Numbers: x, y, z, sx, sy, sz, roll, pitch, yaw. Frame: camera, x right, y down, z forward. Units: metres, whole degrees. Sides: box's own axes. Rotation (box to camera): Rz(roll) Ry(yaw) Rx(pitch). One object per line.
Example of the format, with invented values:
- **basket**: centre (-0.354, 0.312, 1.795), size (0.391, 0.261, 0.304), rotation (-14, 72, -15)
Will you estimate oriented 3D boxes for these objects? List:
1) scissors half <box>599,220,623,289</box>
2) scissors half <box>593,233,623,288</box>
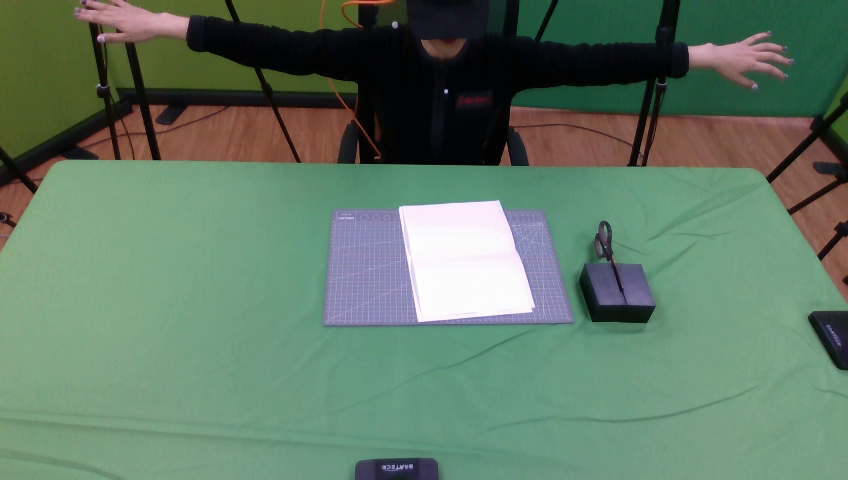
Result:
- **scissors half**: centre (0.354, 0.024, 1.142), size (0.013, 0.040, 0.174), rotation (4, 47, -4)
- **scissors half**: centre (0.351, 0.040, 1.154), size (0.013, 0.040, 0.174), rotation (9, 29, -7)
